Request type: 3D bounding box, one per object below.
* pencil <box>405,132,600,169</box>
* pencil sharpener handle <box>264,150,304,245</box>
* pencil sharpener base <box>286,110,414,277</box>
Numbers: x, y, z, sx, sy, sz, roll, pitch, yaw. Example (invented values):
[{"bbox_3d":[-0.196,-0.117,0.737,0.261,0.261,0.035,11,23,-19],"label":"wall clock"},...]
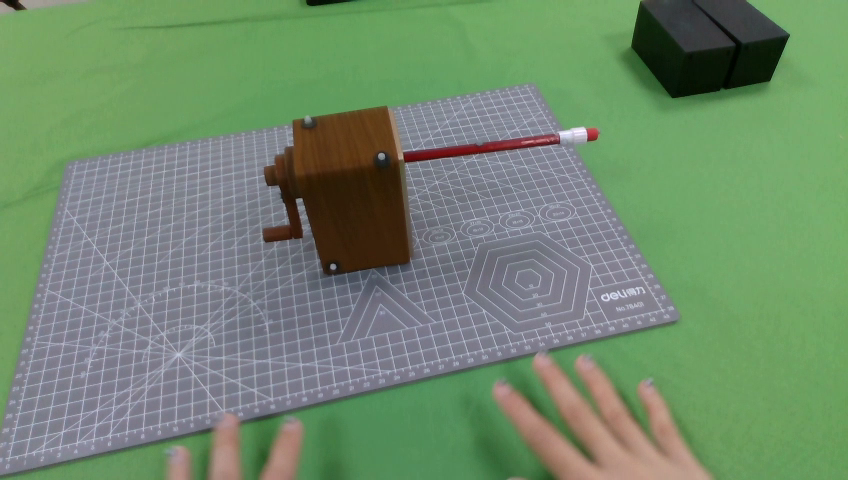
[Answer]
[{"bbox_3d":[0.030,-0.059,0.425,0.194,0.012,0.012,-8,48,-5],"label":"pencil"},{"bbox_3d":[-0.101,-0.027,0.419,0.031,0.068,0.035,-9,29,-4],"label":"pencil sharpener handle"},{"bbox_3d":[-0.051,-0.030,0.437,0.077,0.108,0.060,-9,48,-4],"label":"pencil sharpener base"}]
